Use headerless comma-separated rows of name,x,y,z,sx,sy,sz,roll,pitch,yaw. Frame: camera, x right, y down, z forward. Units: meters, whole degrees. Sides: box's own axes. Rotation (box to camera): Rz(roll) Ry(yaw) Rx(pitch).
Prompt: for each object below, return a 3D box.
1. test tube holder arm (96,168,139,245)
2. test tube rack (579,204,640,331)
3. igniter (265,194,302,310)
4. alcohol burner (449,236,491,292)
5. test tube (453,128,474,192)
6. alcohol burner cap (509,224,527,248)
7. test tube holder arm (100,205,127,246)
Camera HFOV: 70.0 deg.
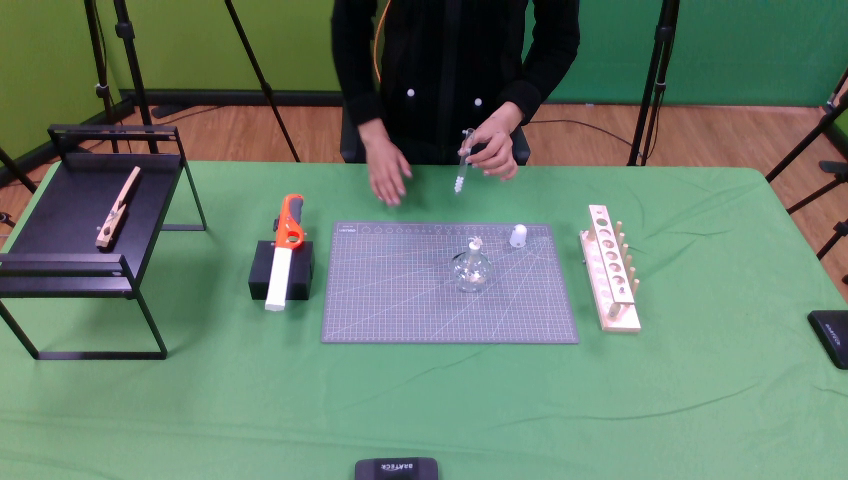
test tube holder arm,-0.487,-0.058,0.968,0.013,0.015,0.177,27,37,-27
test tube rack,0.353,0.047,1.137,0.067,0.085,0.241,2,46,-2
igniter,-0.253,0.011,1.099,0.057,0.025,0.274,9,46,-12
alcohol burner,0.086,0.038,1.101,0.078,0.119,0.077,3,44,-2
test tube,0.073,-0.146,1.130,0.017,0.151,0.017,5,47,-5
alcohol burner cap,0.189,-0.011,1.206,0.034,0.048,0.033,1,46,-1
test tube holder arm,-0.480,-0.025,0.938,0.010,0.015,0.087,28,36,-26
